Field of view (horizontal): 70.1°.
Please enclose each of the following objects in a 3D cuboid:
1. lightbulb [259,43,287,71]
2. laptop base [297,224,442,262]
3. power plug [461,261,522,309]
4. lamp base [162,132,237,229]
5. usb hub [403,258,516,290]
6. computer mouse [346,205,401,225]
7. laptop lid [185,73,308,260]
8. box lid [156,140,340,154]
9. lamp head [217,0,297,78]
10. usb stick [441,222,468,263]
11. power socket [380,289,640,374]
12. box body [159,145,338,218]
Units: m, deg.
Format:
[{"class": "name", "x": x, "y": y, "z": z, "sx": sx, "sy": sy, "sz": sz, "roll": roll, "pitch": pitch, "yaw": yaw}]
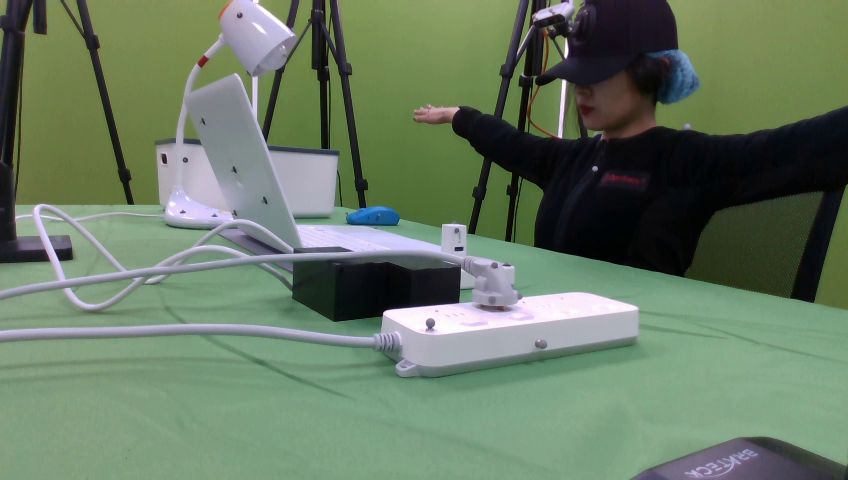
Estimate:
[{"class": "lightbulb", "x": -0.295, "y": -0.358, "z": 1.103, "sx": 0.059, "sy": 0.107, "sz": 0.059, "roll": -37, "pitch": 0, "yaw": 0}, {"class": "laptop base", "x": -0.127, "y": 0.003, "z": 0.946, "sx": 0.237, "sy": 0.023, "sz": 0.352, "roll": 2, "pitch": 6, "yaw": -31}, {"class": "power plug", "x": 0.043, "y": 0.043, "z": 0.444, "sx": 0.035, "sy": 0.052, "sz": 0.073, "roll": -5, "pitch": 8, "yaw": 44}, {"class": "lamp base", "x": -0.419, "y": -0.116, "z": 1.156, "sx": 0.179, "sy": 0.180, "sz": 0.160, "roll": 0, "pitch": 7, "yaw": 0}, {"class": "usb hub", "x": 0.042, "y": 0.038, "z": 0.690, "sx": 0.126, "sy": 0.025, "sz": 0.049, "roll": -2, "pitch": 9, "yaw": -30}, {"class": "computer mouse", "x": -0.112, "y": -0.055, "z": 1.335, "sx": 0.118, "sy": 0.041, "sz": 0.062, "roll": -5, "pitch": 11, "yaw": -21}, {"class": "laptop lid", "x": -0.262, "y": -0.101, "z": 0.850, "sx": 0.013, "sy": 0.242, "sz": 0.355, "roll": -26, "pitch": 21, "yaw": -25}, {"class": "box lid", "x": -0.409, "y": -0.213, "z": 1.404, "sx": 0.373, "sy": 0.015, "sz": 0.262, "roll": -2, "pitch": 8, "yaw": -32}, {"class": "lamp head", "x": -0.315, "y": -0.372, "z": 1.102, "sx": 0.123, "sy": 0.112, "sz": 0.112, "roll": 41, "pitch": 2, "yaw": -9}, {"class": "usb stick", "x": 0.034, "y": 0.009, "z": 0.685, "sx": 0.021, "sy": 0.059, "sz": 0.027, "roll": -2, "pitch": 10, "yaw": -30}, {"class": "power socket", "x": 0.072, "y": 0.064, "z": 0.461, "sx": 0.228, "sy": 0.032, "sz": 0.072, "roll": -3, "pitch": 7, "yaw": -30}, {"class": "box body", "x": -0.410, "y": -0.139, "z": 1.414, "sx": 0.366, "sy": 0.160, "sz": 0.253, "roll": -3, "pitch": 8, "yaw": -33}]
